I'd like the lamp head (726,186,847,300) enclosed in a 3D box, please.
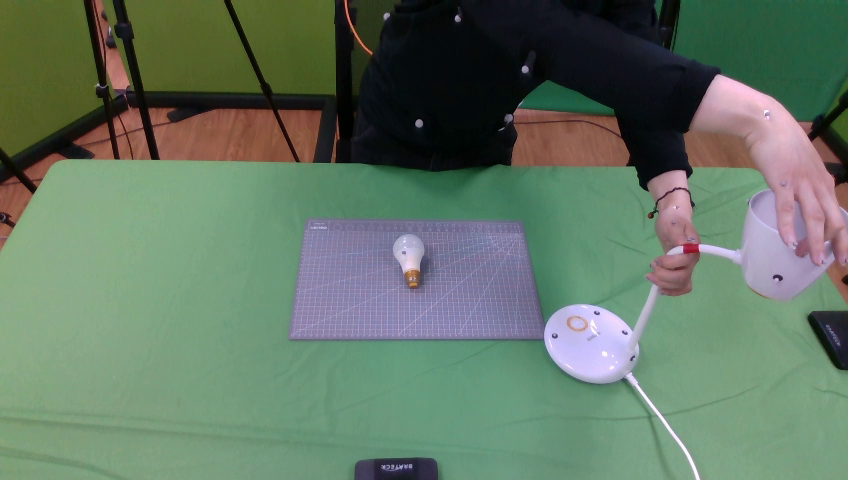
[{"bbox_3d":[0.432,0.011,0.729,0.112,0.123,0.111,2,41,-2],"label":"lamp head"}]

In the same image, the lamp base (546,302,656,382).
[{"bbox_3d":[0.303,0.127,0.981,0.160,0.181,0.178,-34,60,-29],"label":"lamp base"}]

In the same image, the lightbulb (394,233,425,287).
[{"bbox_3d":[-0.024,0.037,1.134,0.059,0.060,0.107,-4,62,-7],"label":"lightbulb"}]
